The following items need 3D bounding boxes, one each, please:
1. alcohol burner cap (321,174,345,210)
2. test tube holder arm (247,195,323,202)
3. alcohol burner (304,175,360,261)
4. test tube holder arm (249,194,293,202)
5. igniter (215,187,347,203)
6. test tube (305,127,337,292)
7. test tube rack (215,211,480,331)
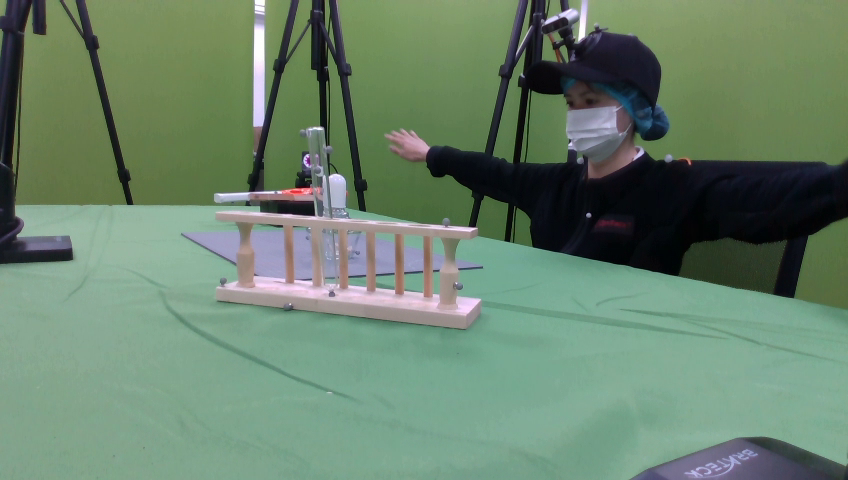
[{"bbox_3d":[-0.125,-0.067,0.833,0.034,0.048,0.034,6,9,-1],"label":"alcohol burner cap"},{"bbox_3d":[-0.269,-0.085,1.230,0.179,0.015,0.013,-2,2,-35],"label":"test tube holder arm"},{"bbox_3d":[-0.126,-0.031,0.838,0.078,0.119,0.078,3,5,0],"label":"alcohol burner"},{"bbox_3d":[-0.303,-0.084,1.200,0.088,0.015,0.010,-2,2,-35],"label":"test tube holder arm"},{"bbox_3d":[-0.293,-0.095,1.267,0.278,0.025,0.057,-6,12,-33],"label":"igniter"},{"bbox_3d":[-0.092,-0.026,0.546,0.017,0.150,0.017,-4,8,1],"label":"test tube"},{"bbox_3d":[-0.071,0.023,0.565,0.242,0.085,0.067,5,7,16],"label":"test tube rack"}]
